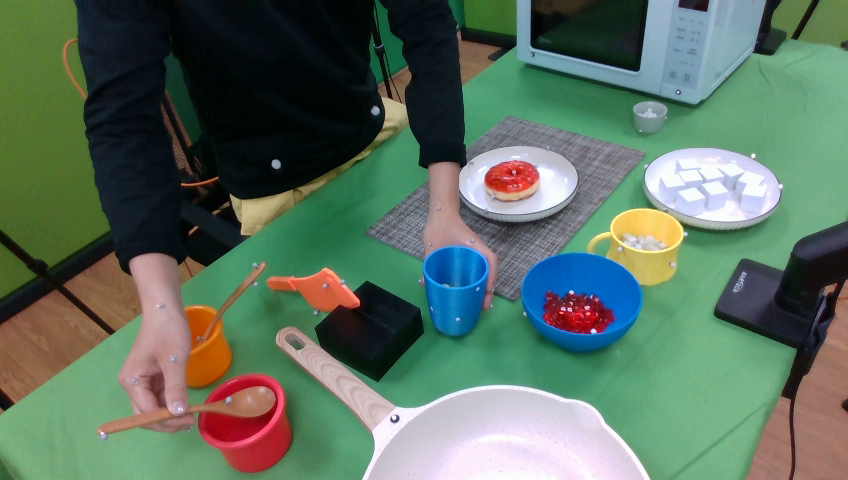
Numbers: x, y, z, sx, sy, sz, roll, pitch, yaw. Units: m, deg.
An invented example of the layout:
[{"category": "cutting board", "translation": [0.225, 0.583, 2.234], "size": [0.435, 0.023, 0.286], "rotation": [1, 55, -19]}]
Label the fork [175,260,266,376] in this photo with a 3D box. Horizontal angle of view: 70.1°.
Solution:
[{"category": "fork", "translation": [-0.268, 0.103, 0.791], "size": [0.207, 0.019, 0.028], "rotation": [-51, 38, 16]}]

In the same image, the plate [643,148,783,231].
[{"category": "plate", "translation": [0.464, -0.079, 0.985], "size": [0.207, 0.039, 0.206], "rotation": [-4, 40, 4]}]

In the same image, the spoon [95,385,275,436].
[{"category": "spoon", "translation": [-0.241, 0.178, 0.634], "size": [0.195, 0.021, 0.041], "rotation": [8, 33, -52]}]

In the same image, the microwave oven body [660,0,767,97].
[{"category": "microwave oven body", "translation": [0.473, -0.516, 1.313], "size": [0.438, 0.261, 0.327], "rotation": [26, 51, 34]}]

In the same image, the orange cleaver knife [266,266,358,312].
[{"category": "orange cleaver knife", "translation": [-0.164, 0.072, 0.864], "size": [0.210, 0.077, 0.012], "rotation": [-5, 31, 50]}]

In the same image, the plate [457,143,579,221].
[{"category": "plate", "translation": [0.161, -0.097, 1.042], "size": [0.209, 0.038, 0.208], "rotation": [-4, 40, 4]}]

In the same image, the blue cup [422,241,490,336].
[{"category": "blue cup", "translation": [0.041, 0.071, 0.791], "size": [0.093, 0.100, 0.092], "rotation": [0, 38, 1]}]

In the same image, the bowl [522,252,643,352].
[{"category": "bowl", "translation": [0.204, 0.093, 0.792], "size": [0.151, 0.077, 0.150], "rotation": [-4, 40, 4]}]

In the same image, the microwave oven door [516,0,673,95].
[{"category": "microwave oven door", "translation": [0.344, -0.458, 1.256], "size": [0.353, 0.245, 0.039], "rotation": [26, 51, 33]}]

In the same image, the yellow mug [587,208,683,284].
[{"category": "yellow mug", "translation": [0.305, 0.009, 0.884], "size": [0.131, 0.064, 0.099], "rotation": [-4, 40, 5]}]

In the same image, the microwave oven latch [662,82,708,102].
[{"category": "microwave oven latch", "translation": [0.518, -0.299, 1.203], "size": [0.078, 0.029, 0.030], "rotation": [30, 53, 36]}]

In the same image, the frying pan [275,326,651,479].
[{"category": "frying pan", "translation": [0.004, 0.229, 0.641], "size": [0.484, 0.103, 0.308], "rotation": [34, 54, 28]}]

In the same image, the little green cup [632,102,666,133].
[{"category": "little green cup", "translation": [0.434, -0.237, 1.171], "size": [0.061, 0.039, 0.061], "rotation": [-5, 40, 5]}]

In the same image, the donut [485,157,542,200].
[{"category": "donut", "translation": [0.153, -0.108, 1.039], "size": [0.099, 0.048, 0.098], "rotation": [-6, 37, 5]}]
